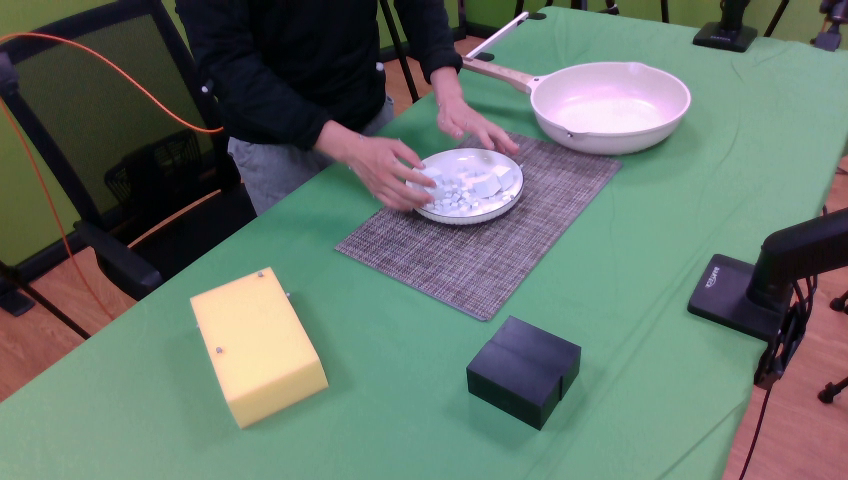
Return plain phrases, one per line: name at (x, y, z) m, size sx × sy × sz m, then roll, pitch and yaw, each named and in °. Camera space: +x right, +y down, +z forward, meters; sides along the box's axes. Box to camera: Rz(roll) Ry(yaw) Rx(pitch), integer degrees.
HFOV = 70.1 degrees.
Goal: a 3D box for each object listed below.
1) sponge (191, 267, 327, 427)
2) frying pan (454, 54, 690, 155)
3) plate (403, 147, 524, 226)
sponge at (-0.226, 0.135, 0.814) m, size 0.119 × 0.061 × 0.205 m, roll -23°, pitch 43°, yaw -19°
frying pan at (0.270, -0.298, 1.211) m, size 0.485 × 0.103 × 0.307 m, roll 27°, pitch 49°, yaw 23°
plate at (0.069, -0.089, 1.044) m, size 0.207 × 0.039 × 0.206 m, roll -4°, pitch 41°, yaw 4°
